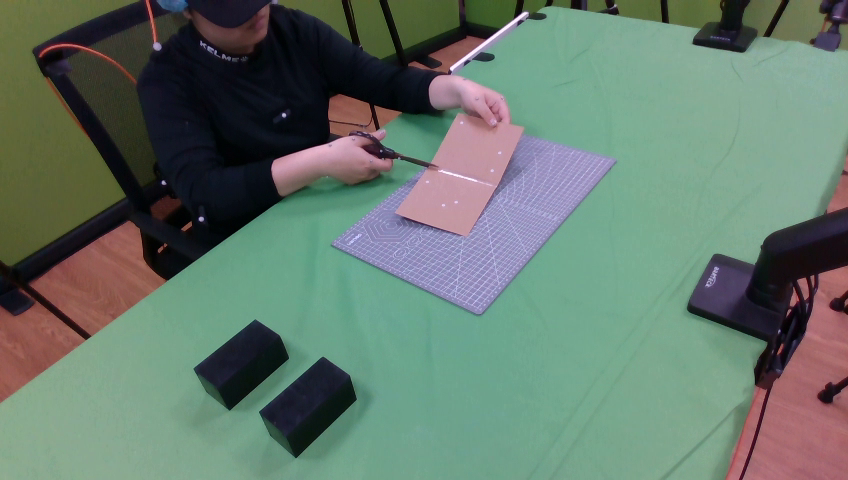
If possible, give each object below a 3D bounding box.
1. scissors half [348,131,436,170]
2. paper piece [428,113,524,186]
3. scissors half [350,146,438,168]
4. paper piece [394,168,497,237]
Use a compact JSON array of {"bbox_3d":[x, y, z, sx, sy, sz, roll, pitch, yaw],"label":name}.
[{"bbox_3d":[-0.055,-0.158,1.097,0.175,0.040,0.013,23,65,-5],"label":"scissors half"},{"bbox_3d":[0.096,-0.168,1.103,0.135,0.009,0.138,20,66,17],"label":"paper piece"},{"bbox_3d":[-0.056,-0.147,1.116,0.174,0.040,0.013,10,58,19],"label":"scissors half"},{"bbox_3d":[0.039,-0.069,1.035,0.135,0.004,0.135,19,51,19],"label":"paper piece"}]
